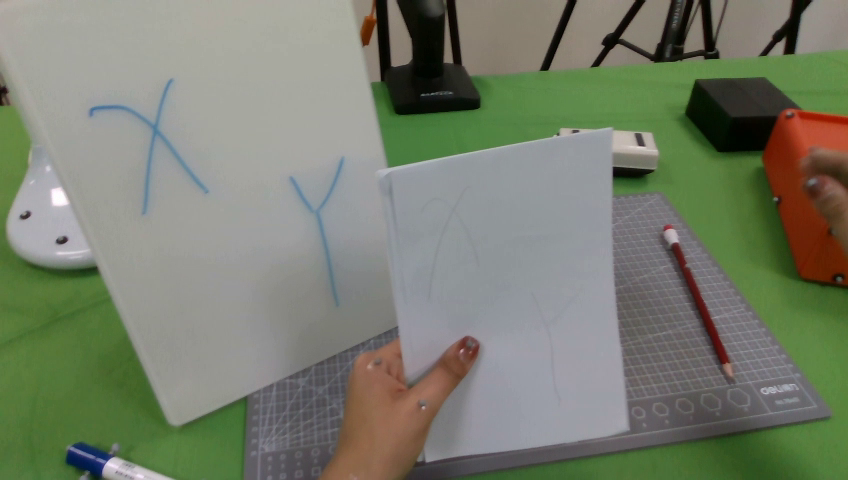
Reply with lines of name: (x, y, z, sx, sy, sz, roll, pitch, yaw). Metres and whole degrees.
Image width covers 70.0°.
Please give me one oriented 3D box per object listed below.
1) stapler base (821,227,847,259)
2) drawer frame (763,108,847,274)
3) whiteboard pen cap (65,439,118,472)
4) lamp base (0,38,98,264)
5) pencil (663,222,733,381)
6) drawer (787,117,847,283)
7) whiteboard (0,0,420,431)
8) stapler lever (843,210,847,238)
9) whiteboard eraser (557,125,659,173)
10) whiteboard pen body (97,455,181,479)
stapler base: (0.463, 0.008, 0.590, 0.130, 0.024, 0.041, 15, 46, 13)
drawer frame: (0.481, -0.042, 0.623, 0.201, 0.083, 0.212, 9, 41, 9)
whiteboard pen cap: (-0.232, 0.152, 0.424, 0.033, 0.018, 0.018, 12, 42, 16)
lamp base: (-0.345, -0.094, 0.577, 0.178, 0.182, 0.160, 21, 45, 24)
pencil: (0.252, 0.049, 0.562, 0.012, 0.012, 0.192, 1, 43, 0)
drawer: (0.480, -0.038, 0.621, 0.194, 0.074, 0.210, 10, 41, 10)
whiteboard: (-0.152, -0.051, 0.484, 0.217, 0.308, 0.142, -22, 27, -23)
stapler lever: (0.464, -0.009, 0.574, 0.117, 0.040, 0.026, 13, 46, 14)
whiteboard eraser: (0.217, -0.107, 0.719, 0.112, 0.042, 0.055, 5, 43, 3)
whiteboard pen body: (-0.178, 0.166, 0.410, 0.140, 0.017, 0.017, 13, 43, 13)
